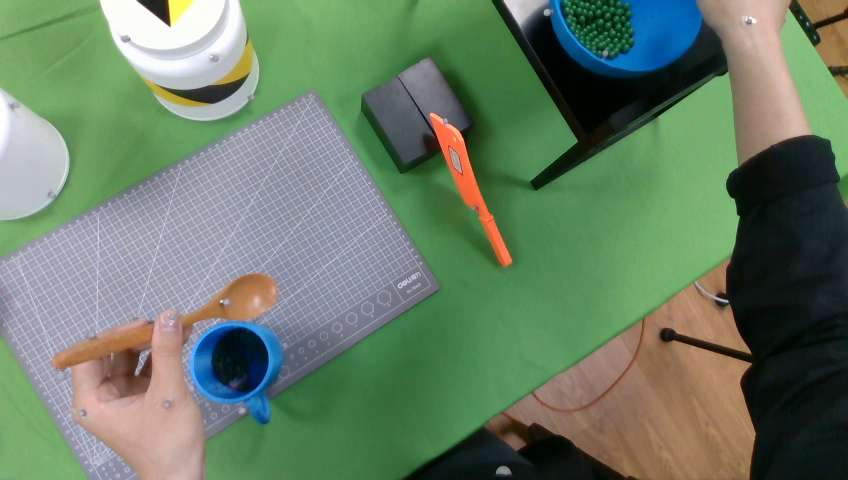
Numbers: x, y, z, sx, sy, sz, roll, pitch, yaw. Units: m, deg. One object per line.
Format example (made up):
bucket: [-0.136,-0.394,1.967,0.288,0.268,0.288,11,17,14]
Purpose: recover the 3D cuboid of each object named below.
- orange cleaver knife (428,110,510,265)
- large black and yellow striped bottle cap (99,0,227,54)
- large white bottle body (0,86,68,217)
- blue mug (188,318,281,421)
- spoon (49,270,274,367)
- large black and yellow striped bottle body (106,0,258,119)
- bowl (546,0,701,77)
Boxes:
orange cleaver knife: [0.055,-0.061,0.739,0.012,0.076,0.213,-33,119,-12]
large black and yellow striped bottle cap: [-0.250,-0.236,0.581,0.115,0.019,0.114,1,83,-10]
large white bottle body: [-0.468,-0.103,0.615,0.131,0.185,0.130,1,81,-8]
blue mug: [-0.197,0.143,0.662,0.082,0.106,0.116,-23,86,-11]
spoon: [-0.186,0.059,0.461,0.021,0.194,0.042,11,104,24]
large black and yellow striped bottle body: [-0.260,-0.222,0.663,0.131,0.184,0.130,1,82,-8]
bowl: [0.185,-0.225,0.602,0.152,0.077,0.151,1,82,-8]
